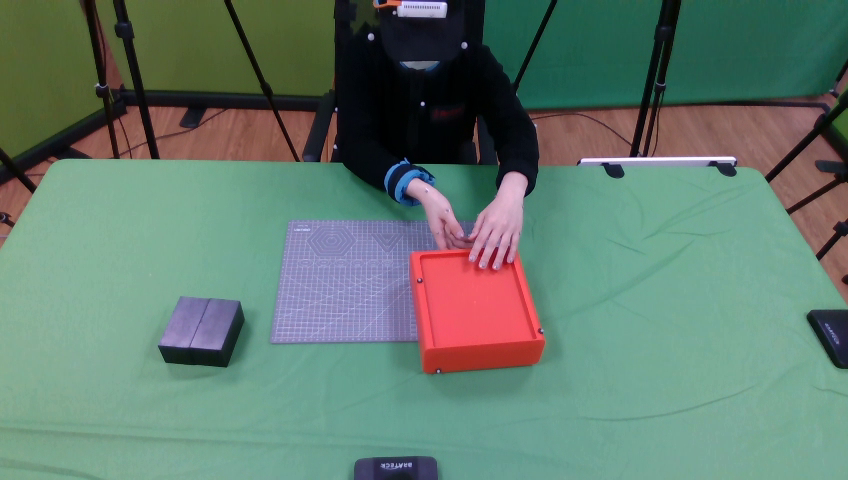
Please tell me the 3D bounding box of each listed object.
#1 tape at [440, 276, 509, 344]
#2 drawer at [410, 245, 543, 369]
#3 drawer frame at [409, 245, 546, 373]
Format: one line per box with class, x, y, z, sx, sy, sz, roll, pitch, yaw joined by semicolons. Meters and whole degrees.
tape;0.086;0.120;1.053;0.117;0.053;0.116;2;46;-2
drawer;0.083;0.111;1.052;0.195;0.073;0.210;-3;47;-8
drawer frame;0.084;0.113;1.049;0.202;0.083;0.212;-4;48;-8
